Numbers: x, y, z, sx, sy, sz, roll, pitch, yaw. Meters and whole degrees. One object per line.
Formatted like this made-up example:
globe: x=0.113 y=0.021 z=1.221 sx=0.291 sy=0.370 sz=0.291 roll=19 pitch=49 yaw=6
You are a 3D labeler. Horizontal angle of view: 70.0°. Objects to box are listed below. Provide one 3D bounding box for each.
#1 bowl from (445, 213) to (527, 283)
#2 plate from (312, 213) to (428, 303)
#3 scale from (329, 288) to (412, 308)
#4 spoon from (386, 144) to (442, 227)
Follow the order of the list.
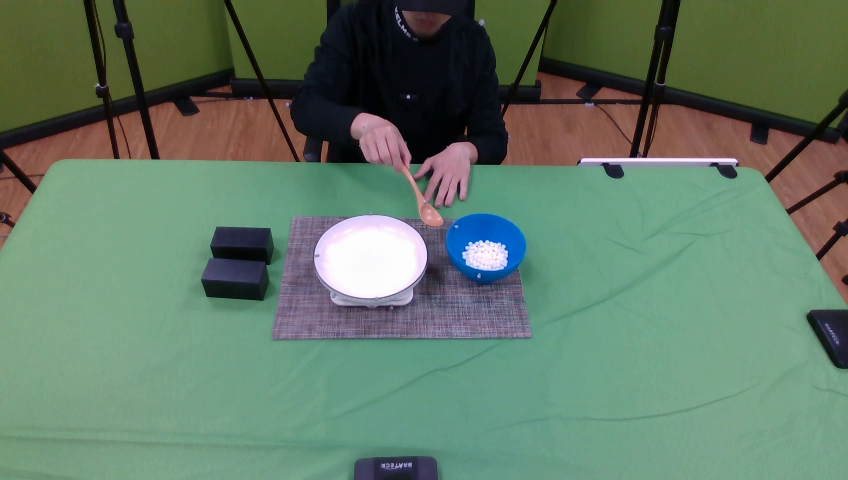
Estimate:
bowl: x=0.112 y=0.027 z=1.136 sx=0.151 sy=0.077 sz=0.150 roll=2 pitch=46 yaw=-2
plate: x=-0.097 y=0.036 z=1.100 sx=0.209 sy=0.038 sz=0.208 roll=2 pitch=46 yaw=-2
scale: x=-0.098 y=0.042 z=1.139 sx=0.149 sy=0.032 sz=0.199 roll=1 pitch=46 yaw=-4
spoon: x=-0.023 y=-0.106 z=1.159 sx=0.041 sy=0.021 sz=0.193 roll=-23 pitch=78 yaw=-26
